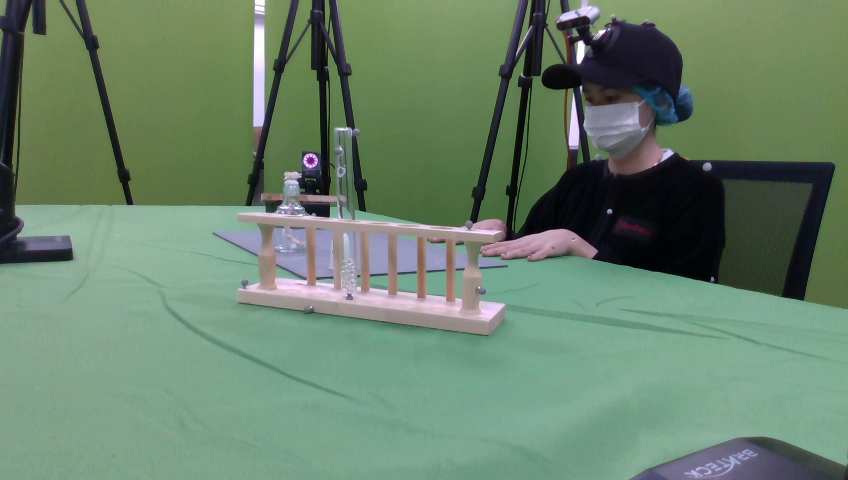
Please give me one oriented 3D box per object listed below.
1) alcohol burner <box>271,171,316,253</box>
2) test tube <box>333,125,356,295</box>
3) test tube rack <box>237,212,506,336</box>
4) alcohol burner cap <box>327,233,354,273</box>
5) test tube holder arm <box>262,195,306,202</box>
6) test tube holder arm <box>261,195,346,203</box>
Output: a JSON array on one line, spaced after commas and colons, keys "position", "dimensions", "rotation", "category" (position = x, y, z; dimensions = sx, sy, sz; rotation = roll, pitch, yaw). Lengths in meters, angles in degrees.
[{"position": [-0.196, -0.041, 0.884], "dimensions": [0.078, 0.119, 0.078], "rotation": [3, 5, 0], "category": "alcohol burner"}, {"position": [-0.070, -0.025, 0.533], "dimensions": [0.017, 0.150, 0.017], "rotation": [-1, 11, 0], "category": "test tube"}, {"position": [-0.049, 0.024, 0.552], "dimensions": [0.242, 0.085, 0.067], "rotation": [5, 8, 18], "category": "test tube rack"}, {"position": [-0.104, 0.016, 0.752], "dimensions": [0.034, 0.048, 0.034], "rotation": [3, 6, 0], "category": "alcohol burner cap"}, {"position": [-0.278, -0.082, 1.204], "dimensions": [0.088, 0.015, 0.010], "rotation": [0, 9, -30], "category": "test tube holder arm"}, {"position": [-0.242, -0.083, 1.232], "dimensions": [0.179, 0.015, 0.013], "rotation": [-1, 9, -32], "category": "test tube holder arm"}]
